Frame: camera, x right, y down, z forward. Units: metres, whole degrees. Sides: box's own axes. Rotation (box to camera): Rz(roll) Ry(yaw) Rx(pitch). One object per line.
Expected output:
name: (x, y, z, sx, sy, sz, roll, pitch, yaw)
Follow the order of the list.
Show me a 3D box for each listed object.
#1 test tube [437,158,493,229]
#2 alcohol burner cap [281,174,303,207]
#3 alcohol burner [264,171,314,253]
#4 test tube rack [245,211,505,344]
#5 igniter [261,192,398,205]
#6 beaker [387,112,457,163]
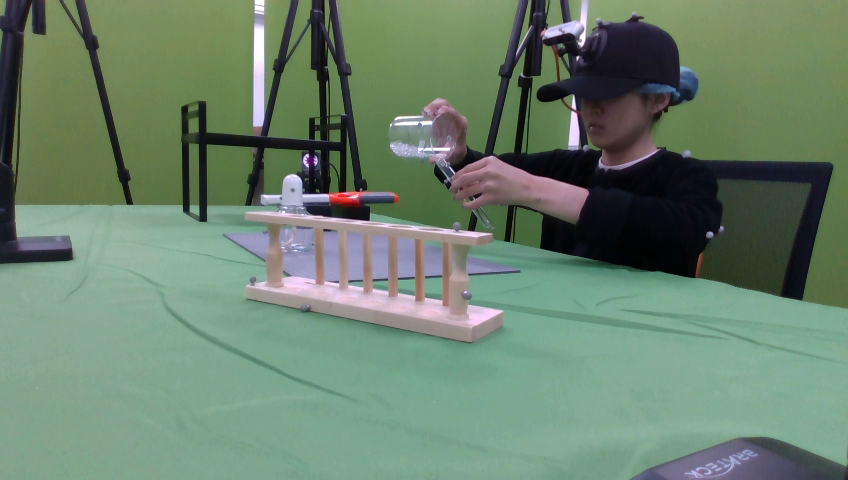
test tube: (0.065, -0.075, 0.964, 0.017, 0.017, 0.149, -6, 53, -47)
alcohol burner cap: (-0.193, -0.072, 0.884, 0.034, 0.048, 0.034, 1, 5, 0)
alcohol burner: (-0.194, -0.042, 0.888, 0.078, 0.119, 0.078, 3, 5, 0)
test tube rack: (-0.049, 0.025, 0.547, 0.241, 0.085, 0.067, 7, 8, 29)
igniter: (-0.185, -0.083, 1.217, 0.278, 0.025, 0.057, -2, 12, -25)
beaker: (-0.006, -0.172, 1.021, 0.100, 0.084, 0.074, 7, -1, 37)
